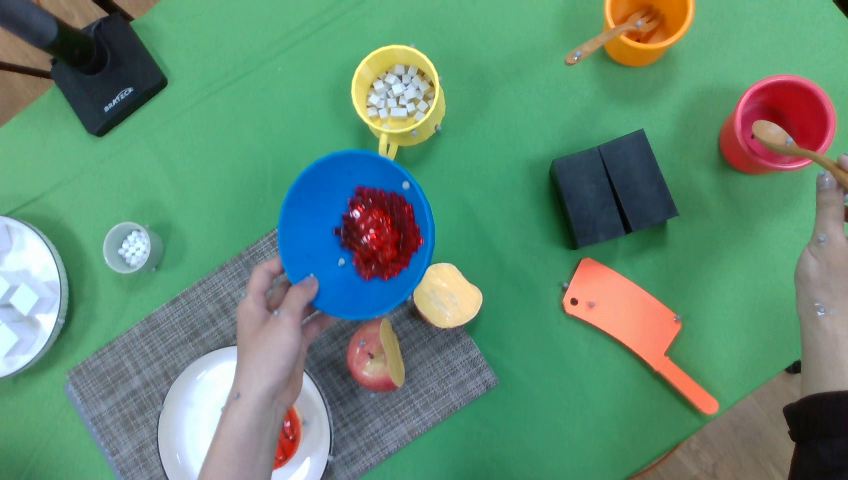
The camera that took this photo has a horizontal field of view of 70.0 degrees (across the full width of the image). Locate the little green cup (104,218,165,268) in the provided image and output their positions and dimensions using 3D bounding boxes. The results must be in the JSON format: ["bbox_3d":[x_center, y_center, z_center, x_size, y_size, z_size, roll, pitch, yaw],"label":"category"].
[{"bbox_3d":[-0.351,0.005,0.740,0.061,0.039,0.061,0,86,7],"label":"little green cup"}]

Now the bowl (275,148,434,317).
[{"bbox_3d":[-0.054,-0.007,0.570,0.151,0.077,0.151,0,92,18],"label":"bowl"}]

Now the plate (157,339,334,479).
[{"bbox_3d":[-0.204,0.217,0.706,0.209,0.038,0.208,0,87,7],"label":"plate"}]

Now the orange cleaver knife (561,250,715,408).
[{"bbox_3d":[0.245,0.097,0.673,0.210,0.012,0.077,40,87,8],"label":"orange cleaver knife"}]

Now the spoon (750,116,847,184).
[{"bbox_3d":[0.338,-0.074,0.526,0.042,0.192,0.022,14,115,-6],"label":"spoon"}]

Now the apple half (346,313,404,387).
[{"bbox_3d":[-0.058,0.126,0.677,0.053,0.075,0.080,-17,88,9],"label":"apple half"}]

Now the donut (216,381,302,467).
[{"bbox_3d":[-0.188,0.211,0.694,0.099,0.048,0.099,0,89,6],"label":"donut"}]

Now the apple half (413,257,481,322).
[{"bbox_3d":[0.021,0.062,0.688,0.081,0.033,0.080,8,58,-12],"label":"apple half"}]

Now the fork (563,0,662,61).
[{"bbox_3d":[0.199,-0.220,0.632,0.028,0.019,0.207,49,49,7],"label":"fork"}]

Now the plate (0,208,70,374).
[{"bbox_3d":[-0.535,0.064,0.759,0.207,0.039,0.207,0,87,7],"label":"plate"}]

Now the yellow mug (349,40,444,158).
[{"bbox_3d":[-0.033,-0.154,0.698,0.100,0.064,0.130,13,89,7],"label":"yellow mug"}]
